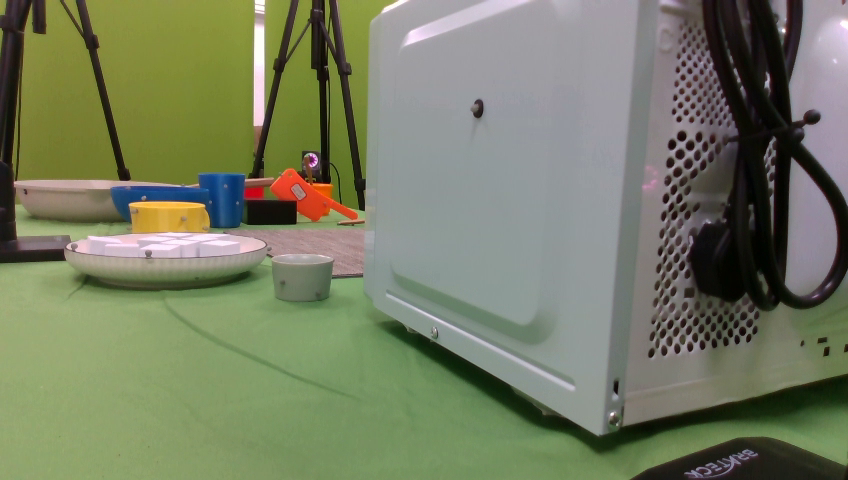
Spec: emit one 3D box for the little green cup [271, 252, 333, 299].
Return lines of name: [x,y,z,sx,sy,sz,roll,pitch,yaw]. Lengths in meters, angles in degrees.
little green cup: [-0.122,0.035,0.605,0.061,0.038,0.061,3,7,0]

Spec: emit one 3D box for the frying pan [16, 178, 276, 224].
frying pan: [-0.553,-0.097,1.266,0.490,0.102,0.305,-10,13,-24]

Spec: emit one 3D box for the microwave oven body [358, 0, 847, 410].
microwave oven body: [0.210,-0.051,0.471,0.444,0.260,0.324,-1,7,-28]

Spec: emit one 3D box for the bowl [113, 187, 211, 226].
bowl: [-0.436,-0.046,1.013,0.151,0.077,0.151,2,7,0]

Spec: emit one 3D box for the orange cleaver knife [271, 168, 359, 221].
orange cleaver knife: [-0.236,-0.084,1.333,0.212,0.077,0.012,31,-10,-32]

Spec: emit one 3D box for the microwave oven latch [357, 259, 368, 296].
microwave oven latch: [-0.019,0.031,0.528,0.079,0.029,0.030,-1,7,-25]

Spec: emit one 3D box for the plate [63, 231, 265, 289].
plate: [-0.288,0.021,0.687,0.208,0.039,0.207,2,8,0]

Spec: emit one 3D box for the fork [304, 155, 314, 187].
fork: [-0.268,-0.134,1.447,0.028,0.018,0.207,2,-36,-1]

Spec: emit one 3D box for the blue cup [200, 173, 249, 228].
blue cup: [-0.381,-0.076,1.155,0.093,0.100,0.092,0,8,0]

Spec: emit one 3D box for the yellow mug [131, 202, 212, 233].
yellow mug: [-0.356,-0.020,0.878,0.099,0.064,0.131,5,7,21]

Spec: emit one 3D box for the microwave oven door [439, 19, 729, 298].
microwave oven door: [0.181,-0.076,0.618,0.358,0.243,0.039,-2,8,-29]

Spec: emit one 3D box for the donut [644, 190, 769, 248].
donut: [0.240,-0.017,0.518,0.099,0.048,0.099,2,3,0]

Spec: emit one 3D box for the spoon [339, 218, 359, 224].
spoon: [-0.087,-0.041,1.268,0.193,0.021,0.041,3,20,13]

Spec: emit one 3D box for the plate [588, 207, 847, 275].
plate: [0.245,-0.001,0.511,0.209,0.038,0.209,2,7,0]
